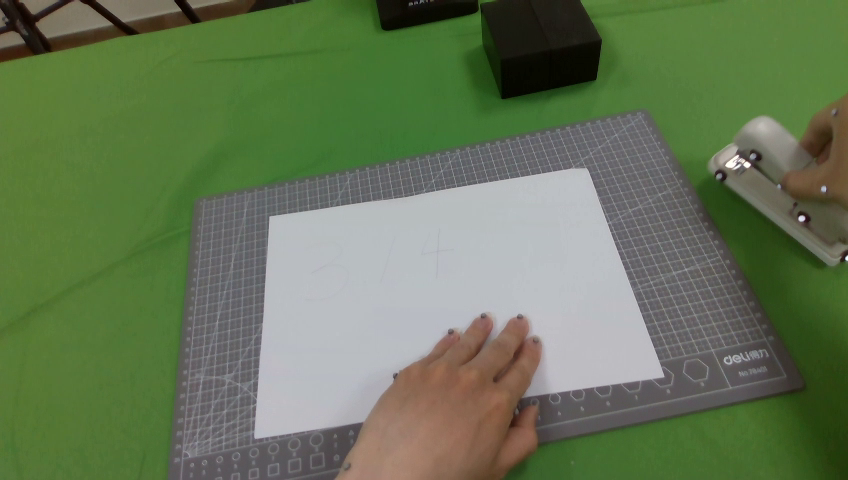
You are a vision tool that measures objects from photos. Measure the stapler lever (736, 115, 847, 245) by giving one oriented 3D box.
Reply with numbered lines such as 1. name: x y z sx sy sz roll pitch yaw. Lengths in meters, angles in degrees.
1. stapler lever: 0.292 -0.050 0.465 0.027 0.040 0.117 -33 63 -9

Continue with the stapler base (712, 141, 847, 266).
1. stapler base: 0.294 -0.038 0.487 0.041 0.024 0.129 -33 62 -9
